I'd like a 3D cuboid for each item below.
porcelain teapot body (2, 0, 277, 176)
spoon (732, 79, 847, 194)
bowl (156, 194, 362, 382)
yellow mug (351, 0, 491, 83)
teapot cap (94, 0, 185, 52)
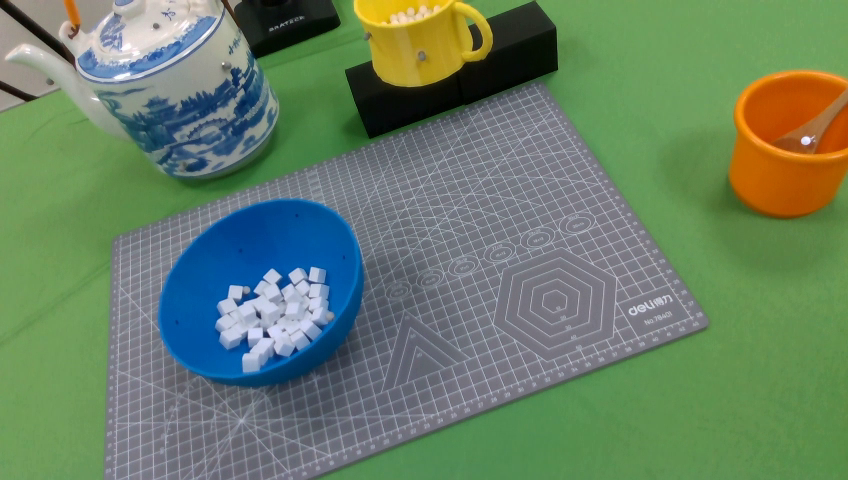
[{"bbox_3d":[-0.270,-0.167,0.565,0.205,0.228,0.143,-16,53,4],"label":"porcelain teapot body"},{"bbox_3d":[0.299,-0.106,0.423,0.022,0.194,0.041,6,44,-38],"label":"spoon"},{"bbox_3d":[-0.111,0.047,0.458,0.151,0.077,0.150,-7,53,10],"label":"bowl"},{"bbox_3d":[0.003,-0.200,0.555,0.130,0.064,0.099,19,62,25],"label":"yellow mug"},{"bbox_3d":[-0.252,-0.196,0.531,0.085,0.044,0.084,-8,55,12],"label":"teapot cap"}]
